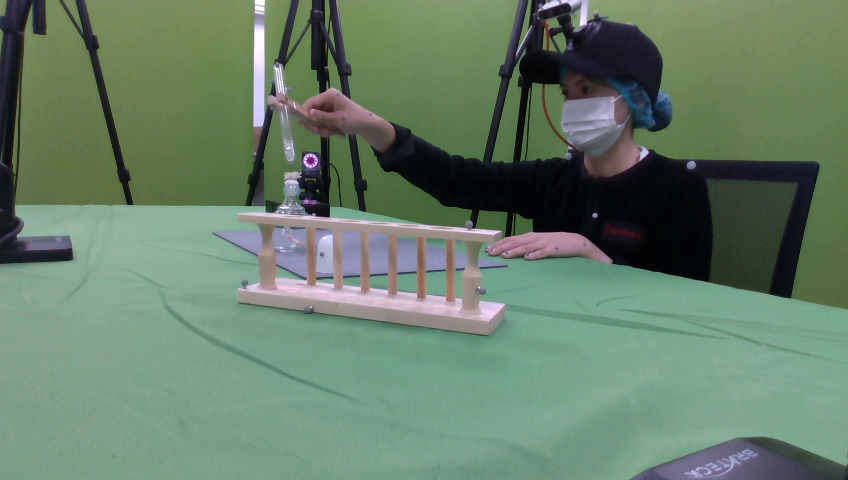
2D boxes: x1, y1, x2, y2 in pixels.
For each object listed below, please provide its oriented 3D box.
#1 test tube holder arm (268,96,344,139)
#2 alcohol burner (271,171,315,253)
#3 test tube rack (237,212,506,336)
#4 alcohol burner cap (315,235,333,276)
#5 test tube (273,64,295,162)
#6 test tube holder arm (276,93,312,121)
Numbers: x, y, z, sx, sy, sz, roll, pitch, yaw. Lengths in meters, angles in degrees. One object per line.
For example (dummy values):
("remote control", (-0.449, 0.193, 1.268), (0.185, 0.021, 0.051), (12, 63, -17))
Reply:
("test tube holder arm", (-0.181, -0.190, 0.951), (0.013, 0.015, 0.179), (-12, -13, 25))
("alcohol burner", (-0.196, -0.041, 0.884), (0.078, 0.119, 0.078), (3, 5, 0))
("test tube rack", (-0.049, 0.024, 0.552), (0.242, 0.085, 0.067), (5, 8, 18))
("alcohol burner cap", (-0.116, 0.018, 0.728), (0.034, 0.048, 0.034), (3, 6, 0))
("test tube", (-0.205, -0.186, 0.885), (0.017, 0.150, 0.017), (-9, -10, -1))
("test tube holder arm", (-0.194, -0.198, 0.908), (0.010, 0.015, 0.088), (-10, -12, 17))
